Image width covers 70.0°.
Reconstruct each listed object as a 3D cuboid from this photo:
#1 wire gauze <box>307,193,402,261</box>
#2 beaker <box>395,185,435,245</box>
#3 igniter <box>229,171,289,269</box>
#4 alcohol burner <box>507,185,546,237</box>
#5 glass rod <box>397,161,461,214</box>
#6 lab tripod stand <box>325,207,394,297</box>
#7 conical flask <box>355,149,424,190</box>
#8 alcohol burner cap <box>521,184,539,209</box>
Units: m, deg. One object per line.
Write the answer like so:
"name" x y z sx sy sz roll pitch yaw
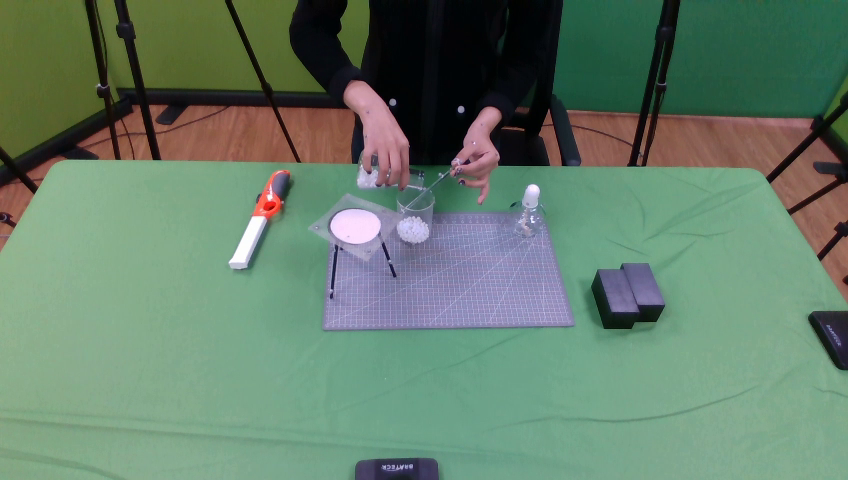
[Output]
"wire gauze" -0.119 -0.028 1.043 0.125 0.011 0.121 24 47 17
"beaker" -0.022 -0.048 1.187 0.074 0.101 0.083 -28 53 -28
"igniter" -0.328 -0.049 1.218 0.057 0.025 0.275 0 45 10
"alcohol burner" 0.208 -0.063 1.210 0.078 0.119 0.077 3 44 -3
"glass rod" 0.005 -0.095 1.121 0.008 0.200 0.008 19 55 -30
"lab tripod stand" -0.124 0.017 1.092 0.148 0.132 0.147 3 44 -3
"conical flask" -0.062 -0.120 1.107 0.122 0.075 0.075 10 46 -2
"alcohol burner cap" 0.210 -0.087 1.183 0.034 0.048 0.033 1 52 -1
